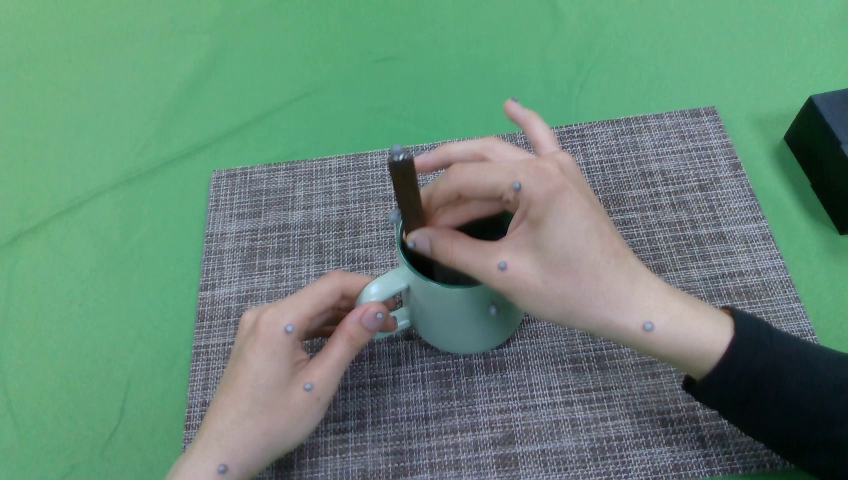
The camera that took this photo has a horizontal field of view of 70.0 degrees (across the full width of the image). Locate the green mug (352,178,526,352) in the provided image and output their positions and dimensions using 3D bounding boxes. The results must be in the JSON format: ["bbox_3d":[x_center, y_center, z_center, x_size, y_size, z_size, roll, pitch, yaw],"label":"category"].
[{"bbox_3d":[0.010,0.027,0.412,0.125,0.106,0.091,-28,61,-10],"label":"green mug"}]

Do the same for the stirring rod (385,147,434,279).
[{"bbox_3d":[-0.005,0.000,0.370,0.014,0.177,0.005,-12,61,-1],"label":"stirring rod"}]
